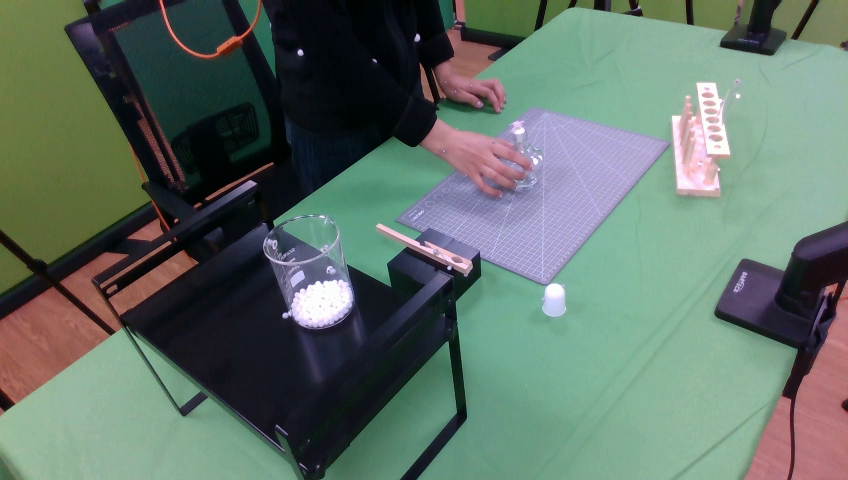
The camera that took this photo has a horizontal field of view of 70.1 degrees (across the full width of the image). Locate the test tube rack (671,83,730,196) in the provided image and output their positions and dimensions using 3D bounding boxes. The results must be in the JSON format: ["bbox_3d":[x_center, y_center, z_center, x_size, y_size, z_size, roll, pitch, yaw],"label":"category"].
[{"bbox_3d":[0.482,-0.184,1.067,0.066,0.085,0.242,5,42,15],"label":"test tube rack"}]

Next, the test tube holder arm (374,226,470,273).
[{"bbox_3d":[-0.007,0.012,0.893,0.177,0.015,0.013,21,48,31],"label":"test tube holder arm"}]

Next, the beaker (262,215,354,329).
[{"bbox_3d":[-0.112,0.034,0.616,0.073,0.101,0.084,13,44,23],"label":"beaker"}]

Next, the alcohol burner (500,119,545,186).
[{"bbox_3d":[0.169,-0.154,1.044,0.078,0.120,0.077,-8,39,7],"label":"alcohol burner"}]

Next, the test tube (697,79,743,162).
[{"bbox_3d":[0.486,-0.194,0.998,0.017,0.150,0.017,5,40,-4],"label":"test tube"}]

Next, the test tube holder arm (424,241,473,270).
[{"bbox_3d":[0.032,0.023,0.872,0.087,0.015,0.010,22,49,32],"label":"test tube holder arm"}]

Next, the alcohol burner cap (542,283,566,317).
[{"bbox_3d":[0.181,0.080,0.839,0.034,0.048,0.033,-4,40,4],"label":"alcohol burner cap"}]
